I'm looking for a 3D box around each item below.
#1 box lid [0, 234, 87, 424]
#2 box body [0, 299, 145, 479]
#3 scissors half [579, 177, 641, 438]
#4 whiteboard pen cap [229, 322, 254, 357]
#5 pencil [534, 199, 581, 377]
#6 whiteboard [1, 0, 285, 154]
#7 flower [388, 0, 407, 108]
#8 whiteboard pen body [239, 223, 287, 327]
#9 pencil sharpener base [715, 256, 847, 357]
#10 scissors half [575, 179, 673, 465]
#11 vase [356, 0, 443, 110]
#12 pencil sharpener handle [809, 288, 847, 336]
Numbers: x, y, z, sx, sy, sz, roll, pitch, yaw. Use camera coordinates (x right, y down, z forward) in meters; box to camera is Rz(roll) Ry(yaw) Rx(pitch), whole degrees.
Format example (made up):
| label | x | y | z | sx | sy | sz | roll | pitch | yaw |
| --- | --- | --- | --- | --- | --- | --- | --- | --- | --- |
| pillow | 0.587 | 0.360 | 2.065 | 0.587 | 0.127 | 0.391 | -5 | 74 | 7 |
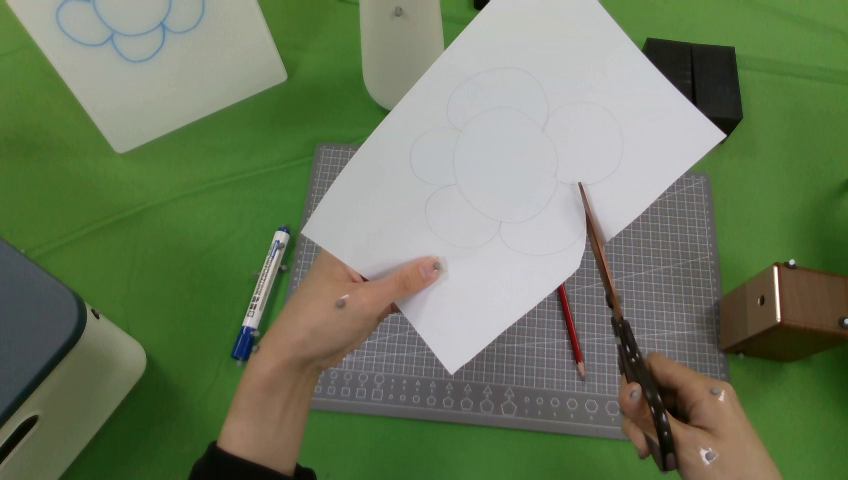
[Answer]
| label | x | y | z | sx | sy | sz | roll | pitch | yaw |
| --- | --- | --- | --- | --- | --- | --- | --- | --- | --- |
| box lid | -0.474 | 0.060 | 0.461 | 0.370 | 0.015 | 0.262 | 30 | 70 | 12 |
| box body | -0.472 | 0.091 | 0.529 | 0.362 | 0.161 | 0.253 | 30 | 71 | 12 |
| scissors half | 0.119 | 0.044 | 0.380 | 0.013 | 0.040 | 0.176 | -15 | 105 | 9 |
| whiteboard pen cap | -0.180 | 0.098 | 0.602 | 0.018 | 0.018 | 0.033 | 11 | 63 | 5 |
| pencil | 0.139 | 0.046 | 0.630 | 0.012 | 0.012 | 0.192 | -8 | 69 | -3 |
| whiteboard | -0.318 | -0.288 | 0.644 | 0.217 | 0.308 | 0.142 | -28 | 50 | -10 |
| flower | -0.035 | -0.275 | 0.574 | 0.044 | 0.365 | 0.038 | -2 | 49 | 3 |
| whiteboard pen body | -0.169 | 0.046 | 0.626 | 0.017 | 0.017 | 0.140 | 11 | 66 | 5 |
| pencil sharpener base | 0.336 | 0.066 | 0.570 | 0.077 | 0.107 | 0.061 | 9 | 67 | 1 |
| scissors half | 0.116 | 0.046 | 0.358 | 0.013 | 0.040 | 0.174 | -16 | 81 | 4 |
| vase | -0.028 | -0.230 | 0.645 | 0.098 | 0.201 | 0.097 | 0 | 66 | 1 |
| pencil sharpener handle | 0.386 | 0.071 | 0.558 | 0.030 | 0.068 | 0.035 | 9 | 61 | 1 |
